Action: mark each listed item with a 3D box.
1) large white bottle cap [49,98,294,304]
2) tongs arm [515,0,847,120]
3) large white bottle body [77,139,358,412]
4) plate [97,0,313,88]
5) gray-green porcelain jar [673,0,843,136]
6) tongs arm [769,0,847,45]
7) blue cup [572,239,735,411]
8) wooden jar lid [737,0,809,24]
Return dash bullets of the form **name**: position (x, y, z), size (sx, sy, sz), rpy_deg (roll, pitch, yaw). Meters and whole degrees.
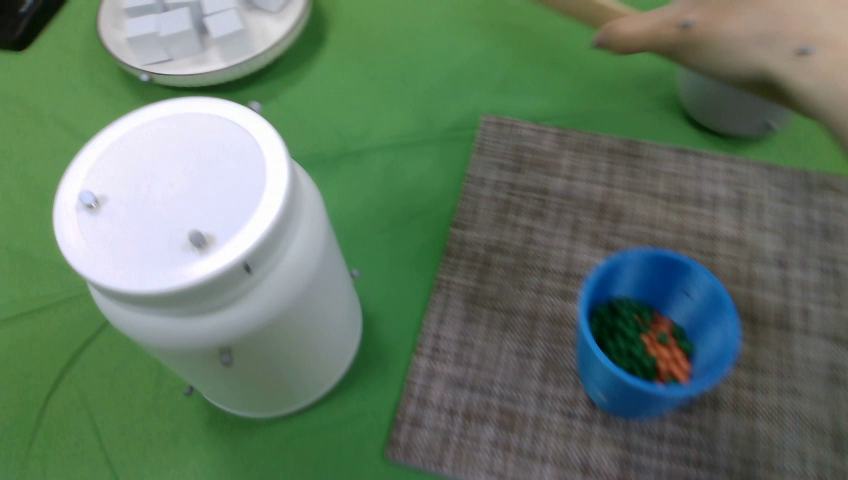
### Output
- **large white bottle cap**: position (-0.122, -0.023, 0.298), size (0.115, 0.018, 0.114), rpy_deg (-1, 60, 2)
- **tongs arm**: position (0.092, -0.165, 0.386), size (0.382, 0.027, 0.050), rpy_deg (32, 71, 19)
- **large white bottle body**: position (-0.117, 0.020, 0.371), size (0.130, 0.186, 0.129), rpy_deg (-1, 60, 2)
- **plate**: position (-0.210, -0.224, 0.601), size (0.207, 0.039, 0.206), rpy_deg (-1, 60, 3)
- **gray-green porcelain jar**: position (0.266, -0.155, 0.485), size (0.106, 0.127, 0.105), rpy_deg (-2, 60, 3)
- **tongs arm**: position (0.138, -0.216, 0.404), size (0.028, 0.028, 0.384), rpy_deg (-40, 67, -17)
- **blue cup**: position (0.131, 0.064, 0.377), size (0.092, 0.101, 0.092), rpy_deg (-3, 59, 5)
- **wooden jar lid**: position (0.262, -0.186, 0.431), size (0.108, 0.021, 0.107), rpy_deg (-1, 57, 2)
